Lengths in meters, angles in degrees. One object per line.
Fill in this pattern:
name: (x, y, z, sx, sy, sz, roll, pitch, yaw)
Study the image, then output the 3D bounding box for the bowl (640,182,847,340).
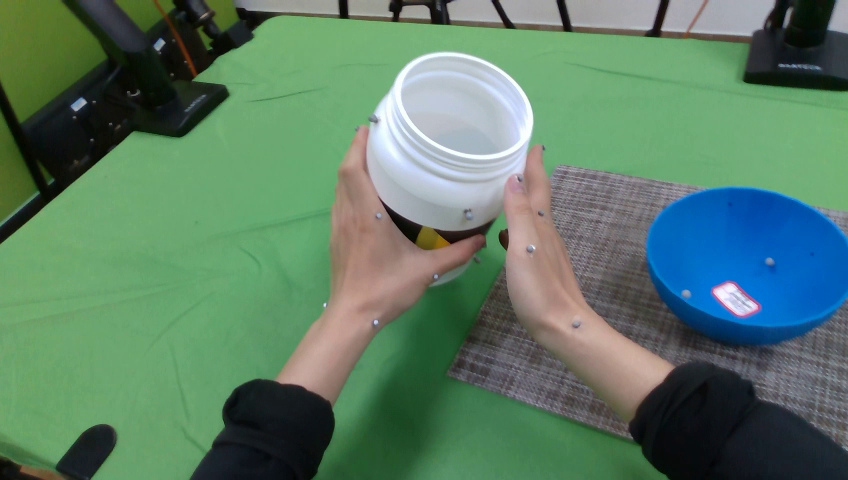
bowl: (0.254, 0.030, 0.501, 0.151, 0.077, 0.150, -6, 46, 7)

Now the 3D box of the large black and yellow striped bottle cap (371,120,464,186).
large black and yellow striped bottle cap: (-0.008, -0.110, 0.748, 0.115, 0.019, 0.114, -5, 46, 6)

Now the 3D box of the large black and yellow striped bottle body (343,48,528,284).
large black and yellow striped bottle body: (0.006, -0.058, 0.521, 0.131, 0.185, 0.129, 8, 57, -12)
